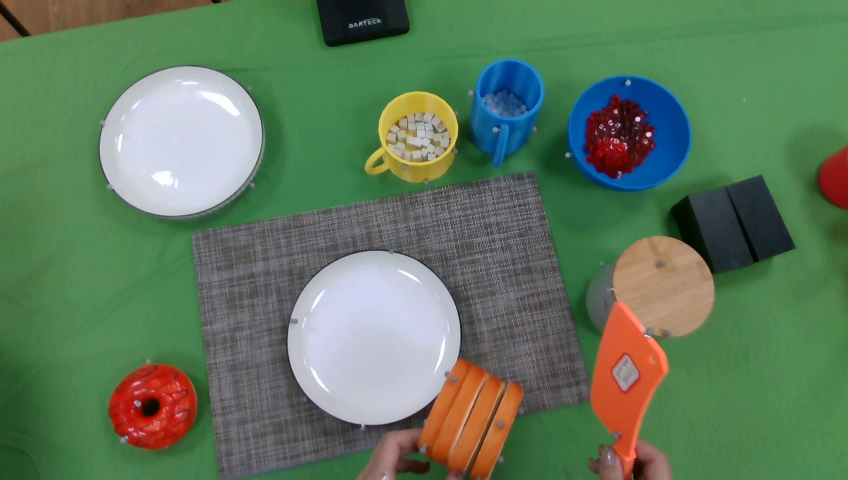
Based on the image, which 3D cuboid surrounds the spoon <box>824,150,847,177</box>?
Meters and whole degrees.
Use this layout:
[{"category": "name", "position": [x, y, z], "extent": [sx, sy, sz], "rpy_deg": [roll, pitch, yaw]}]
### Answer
[{"category": "spoon", "position": [0.598, -0.088, 0.736], "extent": [0.192, 0.022, 0.041], "rpy_deg": [14, 66, 49]}]

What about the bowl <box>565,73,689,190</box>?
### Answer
[{"category": "bowl", "position": [0.248, -0.126, 0.773], "extent": [0.151, 0.077, 0.150], "rpy_deg": [0, 77, -1]}]

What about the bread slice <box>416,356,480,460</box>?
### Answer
[{"category": "bread slice", "position": [0.027, 0.170, 0.621], "extent": [0.018, 0.135, 0.106], "rpy_deg": [22, 71, 16]}]

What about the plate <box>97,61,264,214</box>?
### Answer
[{"category": "plate", "position": [-0.309, -0.130, 0.784], "extent": [0.208, 0.039, 0.206], "rpy_deg": [0, 77, -1]}]

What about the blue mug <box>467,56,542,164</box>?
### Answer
[{"category": "blue mug", "position": [0.097, -0.153, 0.763], "extent": [0.082, 0.106, 0.116], "rpy_deg": [8, 76, 1]}]

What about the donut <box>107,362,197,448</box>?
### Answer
[{"category": "donut", "position": [-0.314, 0.191, 0.705], "extent": [0.099, 0.048, 0.098], "rpy_deg": [1, 76, -3]}]

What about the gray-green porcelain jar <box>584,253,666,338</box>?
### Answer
[{"category": "gray-green porcelain jar", "position": [0.249, 0.063, 0.704], "extent": [0.106, 0.127, 0.105], "rpy_deg": [0, 76, -1]}]

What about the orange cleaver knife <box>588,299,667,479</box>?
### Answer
[{"category": "orange cleaver knife", "position": [0.169, 0.149, 0.531], "extent": [0.012, 0.213, 0.076], "rpy_deg": [-14, 33, -20]}]

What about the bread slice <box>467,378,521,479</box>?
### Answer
[{"category": "bread slice", "position": [0.071, 0.190, 0.606], "extent": [0.019, 0.132, 0.104], "rpy_deg": [23, 77, 11]}]

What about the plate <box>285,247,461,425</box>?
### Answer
[{"category": "plate", "position": [-0.059, 0.112, 0.727], "extent": [0.209, 0.038, 0.208], "rpy_deg": [0, 76, -1]}]

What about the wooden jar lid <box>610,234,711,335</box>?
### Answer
[{"category": "wooden jar lid", "position": [0.249, 0.047, 0.643], "extent": [0.108, 0.021, 0.108], "rpy_deg": [1, 78, -3]}]

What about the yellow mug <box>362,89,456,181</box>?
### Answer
[{"category": "yellow mug", "position": [-0.023, -0.125, 0.774], "extent": [0.131, 0.064, 0.099], "rpy_deg": [-33, 79, -7]}]
